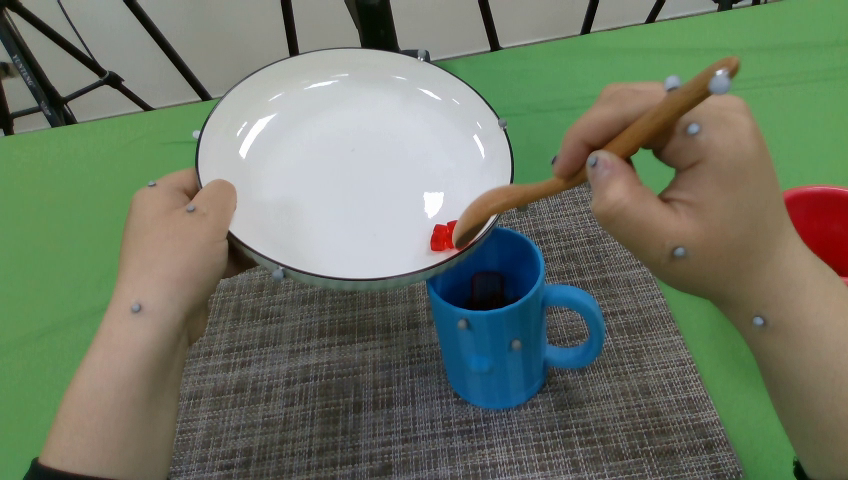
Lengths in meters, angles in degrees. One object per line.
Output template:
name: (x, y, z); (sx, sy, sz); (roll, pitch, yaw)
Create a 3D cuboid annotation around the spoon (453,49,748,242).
spoon: (0.064, -0.033, 0.275); (0.041, 0.022, 0.193); (-38, 6, -29)

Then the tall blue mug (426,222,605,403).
tall blue mug: (0.061, 0.048, 0.418); (0.107, 0.109, 0.077); (-14, 44, -1)

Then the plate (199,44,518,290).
plate: (-0.041, -0.052, 0.413); (0.208, 0.039, 0.205); (3, 56, -4)
